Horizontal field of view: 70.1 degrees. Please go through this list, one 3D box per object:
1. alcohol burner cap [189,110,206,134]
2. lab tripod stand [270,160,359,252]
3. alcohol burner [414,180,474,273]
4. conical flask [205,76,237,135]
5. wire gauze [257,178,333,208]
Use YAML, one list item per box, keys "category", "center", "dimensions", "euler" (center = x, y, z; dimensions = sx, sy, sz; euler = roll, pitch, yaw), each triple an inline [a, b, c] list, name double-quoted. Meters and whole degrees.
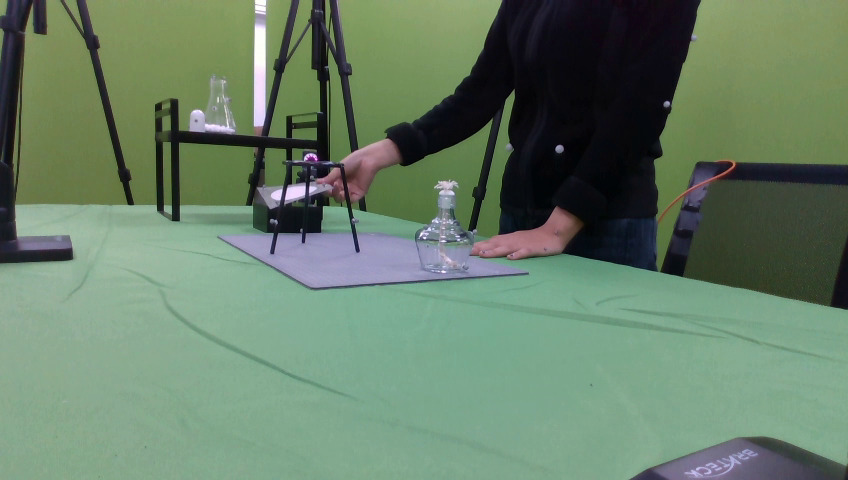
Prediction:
- category: "alcohol burner cap"
  center: [-0.464, -0.242, 1.240]
  dimensions: [0.034, 0.048, 0.034]
  euler: [3, 7, 0]
- category: "lab tripod stand"
  center: [-0.167, -0.051, 0.892]
  dimensions: [0.148, 0.131, 0.148]
  euler: [3, 9, 0]
- category: "alcohol burner"
  center: [0.026, -0.017, 0.773]
  dimensions: [0.078, 0.119, 0.078]
  euler: [4, 6, 0]
- category: "conical flask"
  center: [-0.443, -0.290, 1.309]
  dimensions: [0.075, 0.122, 0.075]
  euler: [3, 7, 0]
- category: "wire gauze"
  center: [-0.242, -0.093, 1.132]
  dimensions: [0.122, 0.011, 0.124]
  euler: [-15, 24, -21]
